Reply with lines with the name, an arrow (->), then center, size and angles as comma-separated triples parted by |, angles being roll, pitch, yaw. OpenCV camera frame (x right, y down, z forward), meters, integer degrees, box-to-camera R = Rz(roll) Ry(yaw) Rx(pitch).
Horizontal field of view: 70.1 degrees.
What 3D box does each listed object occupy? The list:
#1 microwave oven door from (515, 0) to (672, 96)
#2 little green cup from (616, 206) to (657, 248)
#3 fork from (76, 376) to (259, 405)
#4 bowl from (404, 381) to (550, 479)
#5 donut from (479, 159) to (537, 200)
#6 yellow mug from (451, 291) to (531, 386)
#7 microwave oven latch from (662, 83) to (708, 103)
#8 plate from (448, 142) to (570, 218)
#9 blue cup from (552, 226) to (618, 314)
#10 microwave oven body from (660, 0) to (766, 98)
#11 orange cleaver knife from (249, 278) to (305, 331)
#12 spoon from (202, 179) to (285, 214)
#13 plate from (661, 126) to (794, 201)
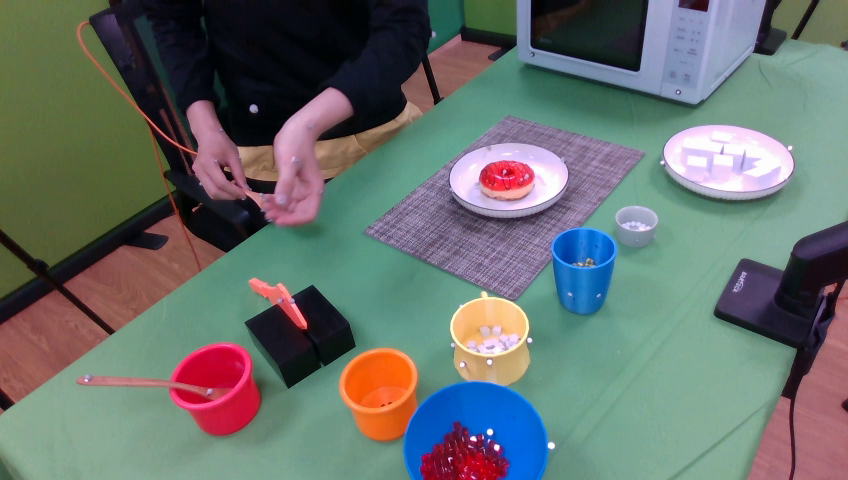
microwave oven door -> 0.344, -0.455, 1.259 | 0.353, 0.245, 0.039 | 26, 51, 33
little green cup -> 0.327, -0.019, 0.935 | 0.061, 0.039, 0.061 | -4, 40, 4
fork -> -0.295, 0.176, 0.716 | 0.209, 0.018, 0.028 | 19, 26, -36
bowl -> 0.058, 0.235, 0.645 | 0.151, 0.077, 0.150 | -4, 39, 4
donut -> 0.145, -0.106, 1.042 | 0.099, 0.048, 0.098 | -4, 37, 4
yellow mug -> 0.085, 0.120, 0.786 | 0.100, 0.064, 0.130 | -7, 39, 1
microwave oven latch -> 0.518, -0.297, 1.204 | 0.078, 0.029, 0.030 | 28, 52, 35
plate -> 0.148, -0.101, 1.053 | 0.209, 0.038, 0.208 | -4, 40, 4
blue cup -> 0.218, 0.047, 0.826 | 0.092, 0.101, 0.092 | -6, 40, 5
microwave oven body -> 0.473, -0.514, 1.317 | 0.438, 0.261, 0.327 | 26, 51, 34
orange cleaver knife -> -0.210, 0.088, 0.856 | 0.012, 0.077, 0.210 | -28, 15, -25
spoon -> -0.308, -0.080, 1.023 | 0.192, 0.022, 0.041 | 20, 59, 25
plate -> 0.513, -0.128, 1.035 | 0.207, 0.039, 0.206 | -4, 40, 4
